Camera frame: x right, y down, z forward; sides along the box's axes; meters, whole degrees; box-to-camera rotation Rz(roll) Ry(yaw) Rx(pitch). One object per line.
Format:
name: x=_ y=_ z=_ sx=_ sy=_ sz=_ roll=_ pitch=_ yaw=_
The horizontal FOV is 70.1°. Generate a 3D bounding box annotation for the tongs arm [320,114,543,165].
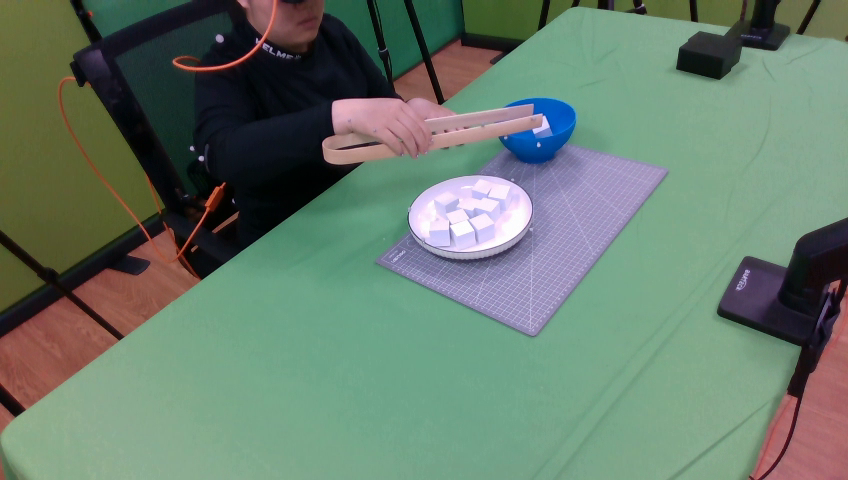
tongs arm: x=0.020 y=-0.174 z=1.013 sx=0.386 sy=0.026 sz=0.050 roll=-15 pitch=40 yaw=-18

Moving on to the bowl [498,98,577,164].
bowl: x=0.207 y=-0.196 z=1.128 sx=0.151 sy=0.077 sz=0.150 roll=-5 pitch=40 yaw=5

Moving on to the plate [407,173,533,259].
plate: x=0.076 y=-0.037 z=0.997 sx=0.207 sy=0.039 sz=0.206 roll=-5 pitch=40 yaw=5

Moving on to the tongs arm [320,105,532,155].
tongs arm: x=0.012 y=-0.189 z=1.033 sx=0.389 sy=0.028 sz=0.028 roll=-13 pitch=43 yaw=-15
